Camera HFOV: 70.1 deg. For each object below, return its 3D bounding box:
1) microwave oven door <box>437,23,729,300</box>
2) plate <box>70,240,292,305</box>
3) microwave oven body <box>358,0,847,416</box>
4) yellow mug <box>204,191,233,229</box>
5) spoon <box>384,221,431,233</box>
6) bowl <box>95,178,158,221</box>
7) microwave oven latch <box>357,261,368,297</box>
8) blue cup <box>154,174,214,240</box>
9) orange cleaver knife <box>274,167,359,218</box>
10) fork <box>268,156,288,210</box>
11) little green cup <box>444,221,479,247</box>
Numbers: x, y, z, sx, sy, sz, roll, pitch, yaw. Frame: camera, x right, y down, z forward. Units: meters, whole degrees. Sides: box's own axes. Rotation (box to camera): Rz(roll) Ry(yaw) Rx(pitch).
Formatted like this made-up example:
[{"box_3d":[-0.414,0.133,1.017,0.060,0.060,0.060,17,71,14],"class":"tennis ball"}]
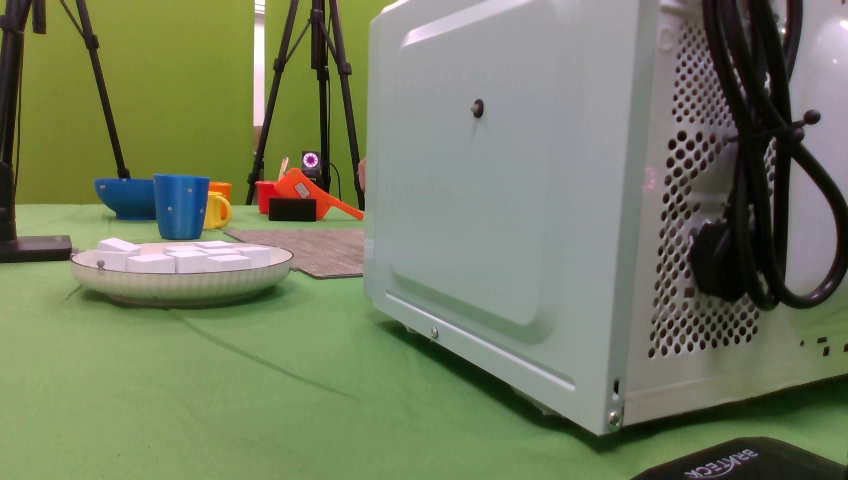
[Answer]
[{"box_3d":[0.181,-0.072,0.621,0.358,0.243,0.039,-2,9,-29],"class":"microwave oven door"},{"box_3d":[-0.242,0.031,0.618,0.208,0.039,0.207,2,8,0],"class":"plate"},{"box_3d":[0.211,-0.047,0.474,0.444,0.260,0.324,-1,8,-28],"class":"microwave oven body"},{"box_3d":[-0.415,-0.057,1.132,0.130,0.064,0.100,6,8,16],"class":"yellow mug"},{"box_3d":[-0.024,-0.029,1.188,0.041,0.021,0.194,-11,0,23],"class":"spoon"},{"box_3d":[-0.576,-0.081,1.217,0.151,0.077,0.151,3,8,0],"class":"bowl"},{"box_3d":[-0.019,0.033,0.530,0.079,0.029,0.030,-1,7,-26],"class":"microwave oven latch"},{"box_3d":[-0.390,-0.053,0.978,0.093,0.100,0.092,4,6,0],"class":"blue cup"},{"box_3d":[-0.238,-0.090,1.381,0.212,0.077,0.012,31,0,-19],"class":"orange cleaver knife"},{"box_3d":[-0.360,-0.144,1.508,0.028,0.018,0.207,1,49,0],"class":"fork"},{"box_3d":[0.064,-0.011,1.034,0.061,0.038,0.061,0,9,0],"class":"little green cup"}]
